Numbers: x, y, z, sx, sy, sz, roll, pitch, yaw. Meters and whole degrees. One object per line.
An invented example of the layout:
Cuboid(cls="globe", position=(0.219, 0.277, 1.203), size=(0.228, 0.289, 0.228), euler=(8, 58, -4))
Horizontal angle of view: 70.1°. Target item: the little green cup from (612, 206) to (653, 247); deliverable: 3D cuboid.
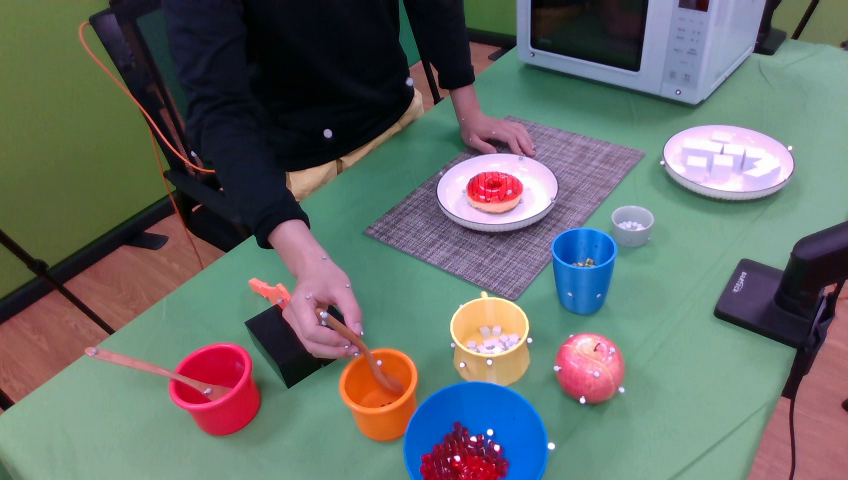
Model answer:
Cuboid(cls="little green cup", position=(0.321, -0.019, 0.936), size=(0.061, 0.039, 0.061), euler=(-4, 40, 4))

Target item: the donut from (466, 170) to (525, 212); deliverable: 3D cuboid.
Cuboid(cls="donut", position=(0.120, -0.083, 1.019), size=(0.099, 0.048, 0.098), euler=(-4, 38, 4))

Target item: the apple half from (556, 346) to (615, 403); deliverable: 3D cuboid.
Cuboid(cls="apple half", position=(0.181, 0.167, 0.709), size=(0.080, 0.081, 0.033), euler=(29, 52, 35))

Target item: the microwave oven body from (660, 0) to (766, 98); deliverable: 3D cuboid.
Cuboid(cls="microwave oven body", position=(0.472, -0.513, 1.317), size=(0.438, 0.261, 0.327), euler=(26, 51, 34))

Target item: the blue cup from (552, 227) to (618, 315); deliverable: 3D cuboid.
Cuboid(cls="blue cup", position=(0.218, 0.047, 0.825), size=(0.092, 0.100, 0.092), euler=(-6, 39, 5))

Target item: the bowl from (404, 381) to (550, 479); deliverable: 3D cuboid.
Cuboid(cls="bowl", position=(0.058, 0.235, 0.645), size=(0.151, 0.077, 0.150), euler=(-4, 39, 4))

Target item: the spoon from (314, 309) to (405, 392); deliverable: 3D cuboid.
Cuboid(cls="spoon", position=(-0.069, 0.124, 0.674), size=(0.021, 0.195, 0.041), euler=(-41, 46, -10))

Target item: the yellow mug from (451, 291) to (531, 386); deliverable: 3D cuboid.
Cuboid(cls="yellow mug", position=(0.086, 0.120, 0.786), size=(0.100, 0.064, 0.130), euler=(-7, 39, 2))

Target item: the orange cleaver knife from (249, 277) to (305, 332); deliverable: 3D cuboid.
Cuboid(cls="orange cleaver knife", position=(-0.210, 0.088, 0.855), size=(0.012, 0.077, 0.210), euler=(-28, 15, -24))

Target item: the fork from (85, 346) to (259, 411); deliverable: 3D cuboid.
Cuboid(cls="fork", position=(-0.298, 0.166, 0.727), size=(0.209, 0.018, 0.028), euler=(28, 48, -23))

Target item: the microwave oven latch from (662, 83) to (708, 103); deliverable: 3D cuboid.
Cuboid(cls="microwave oven latch", position=(0.518, -0.297, 1.205), size=(0.078, 0.029, 0.030), euler=(29, 53, 36))

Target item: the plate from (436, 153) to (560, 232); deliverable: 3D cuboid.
Cuboid(cls="plate", position=(0.125, -0.078, 1.029), size=(0.209, 0.038, 0.208), euler=(-4, 40, 4))

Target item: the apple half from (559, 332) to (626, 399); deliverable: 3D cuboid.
Cuboid(cls="apple half", position=(0.209, 0.147, 0.730), size=(0.080, 0.075, 0.053), euler=(26, 48, 38))

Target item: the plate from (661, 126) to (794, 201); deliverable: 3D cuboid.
Cuboid(cls="plate", position=(0.513, -0.128, 1.035), size=(0.207, 0.039, 0.206), euler=(-4, 40, 4))

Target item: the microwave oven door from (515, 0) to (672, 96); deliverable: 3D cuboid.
Cuboid(cls="microwave oven door", position=(0.344, -0.455, 1.259), size=(0.353, 0.245, 0.039), euler=(26, 51, 33))
